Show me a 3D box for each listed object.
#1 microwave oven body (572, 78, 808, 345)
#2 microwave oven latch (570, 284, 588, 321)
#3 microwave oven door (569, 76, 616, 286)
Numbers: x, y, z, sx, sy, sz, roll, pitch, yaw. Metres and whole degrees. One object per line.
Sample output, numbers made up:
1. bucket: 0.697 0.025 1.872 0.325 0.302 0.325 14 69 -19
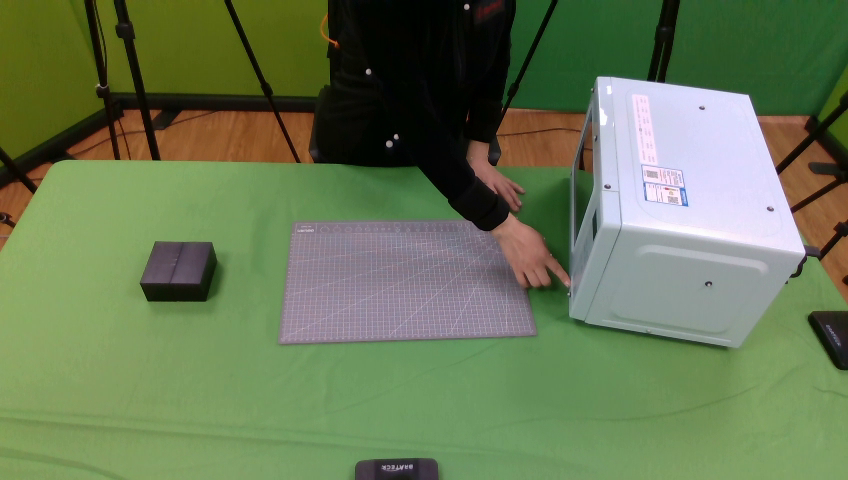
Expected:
1. microwave oven body: 0.456 -0.063 1.124 0.326 0.261 0.439 8 45 5
2. microwave oven latch: 0.276 0.106 1.082 0.030 0.029 0.079 10 46 7
3. microwave oven door: 0.320 -0.119 1.161 0.039 0.245 0.354 9 46 5
